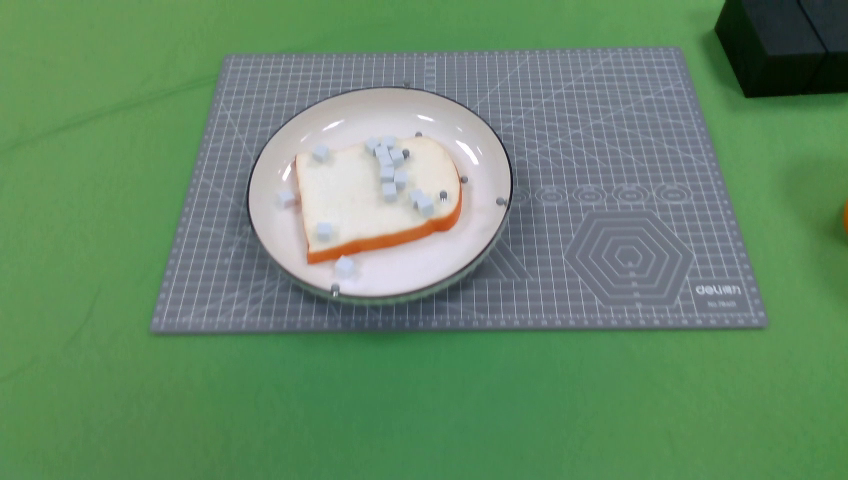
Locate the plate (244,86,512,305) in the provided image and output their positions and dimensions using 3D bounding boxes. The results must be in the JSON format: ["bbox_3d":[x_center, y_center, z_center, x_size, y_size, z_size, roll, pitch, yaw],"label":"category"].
[{"bbox_3d":[-0.035,-0.037,0.484,0.209,0.038,0.207,-1,58,1],"label":"plate"}]

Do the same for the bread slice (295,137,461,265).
[{"bbox_3d":[-0.037,-0.040,0.490,0.132,0.019,0.104,-13,59,-5],"label":"bread slice"}]
